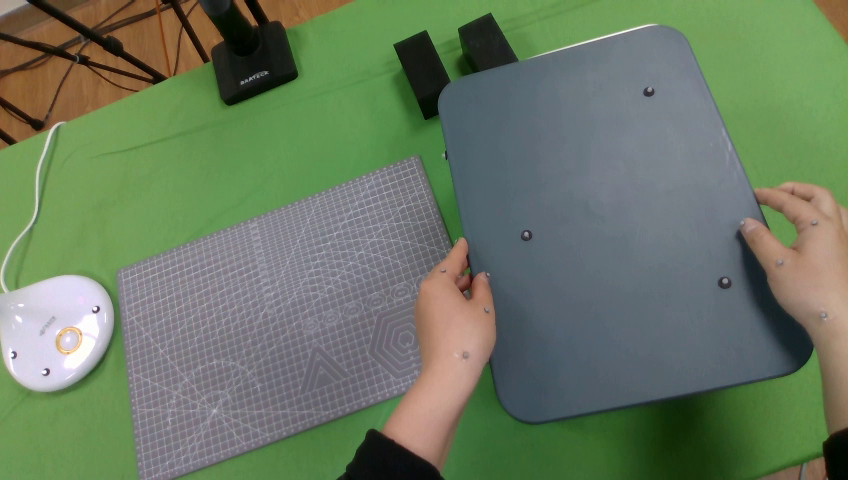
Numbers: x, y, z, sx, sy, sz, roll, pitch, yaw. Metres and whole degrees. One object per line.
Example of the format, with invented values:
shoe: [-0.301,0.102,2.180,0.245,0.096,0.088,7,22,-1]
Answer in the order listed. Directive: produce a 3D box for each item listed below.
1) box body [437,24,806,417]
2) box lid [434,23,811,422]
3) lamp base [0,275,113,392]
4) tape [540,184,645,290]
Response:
box body: [0.180,-0.013,0.648,0.254,0.162,0.361,-15,66,6]
box lid: [0.162,-0.037,0.569,0.263,0.015,0.368,-13,66,6]
lamp base: [-0.521,0.092,0.749,0.178,0.182,0.160,16,73,20]
tape: [0.193,-0.005,0.696,0.116,0.053,0.116,-4,68,10]
